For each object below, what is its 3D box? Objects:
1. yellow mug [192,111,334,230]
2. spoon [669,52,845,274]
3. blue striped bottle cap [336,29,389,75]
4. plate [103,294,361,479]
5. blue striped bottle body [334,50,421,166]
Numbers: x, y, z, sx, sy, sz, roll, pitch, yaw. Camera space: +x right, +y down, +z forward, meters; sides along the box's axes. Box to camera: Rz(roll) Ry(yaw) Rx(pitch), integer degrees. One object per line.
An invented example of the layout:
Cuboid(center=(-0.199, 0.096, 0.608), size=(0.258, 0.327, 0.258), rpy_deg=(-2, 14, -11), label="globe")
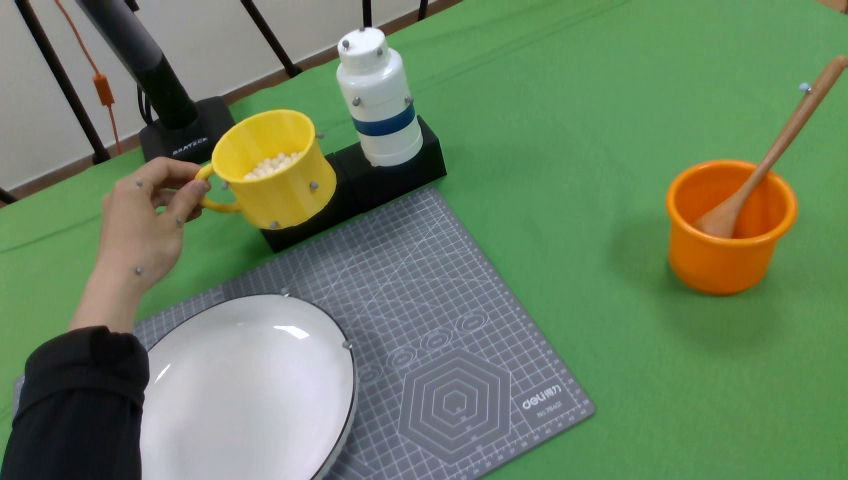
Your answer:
Cuboid(center=(-0.159, -0.063, 0.584), size=(0.131, 0.064, 0.099), rpy_deg=(-22, 48, -3), label="yellow mug")
Cuboid(center=(0.255, -0.055, 0.469), size=(0.194, 0.022, 0.041), rpy_deg=(-59, 45, 17), label="spoon")
Cuboid(center=(-0.055, -0.168, 0.539), size=(0.044, 0.021, 0.044), rpy_deg=(-9, 49, 11), label="blue striped bottle cap")
Cuboid(center=(-0.148, 0.138, 0.488), size=(0.207, 0.039, 0.205), rpy_deg=(-8, 48, 9), label="plate")
Cuboid(center=(-0.045, -0.134, 0.577), size=(0.063, 0.122, 0.062), rpy_deg=(-8, 48, 9), label="blue striped bottle body")
